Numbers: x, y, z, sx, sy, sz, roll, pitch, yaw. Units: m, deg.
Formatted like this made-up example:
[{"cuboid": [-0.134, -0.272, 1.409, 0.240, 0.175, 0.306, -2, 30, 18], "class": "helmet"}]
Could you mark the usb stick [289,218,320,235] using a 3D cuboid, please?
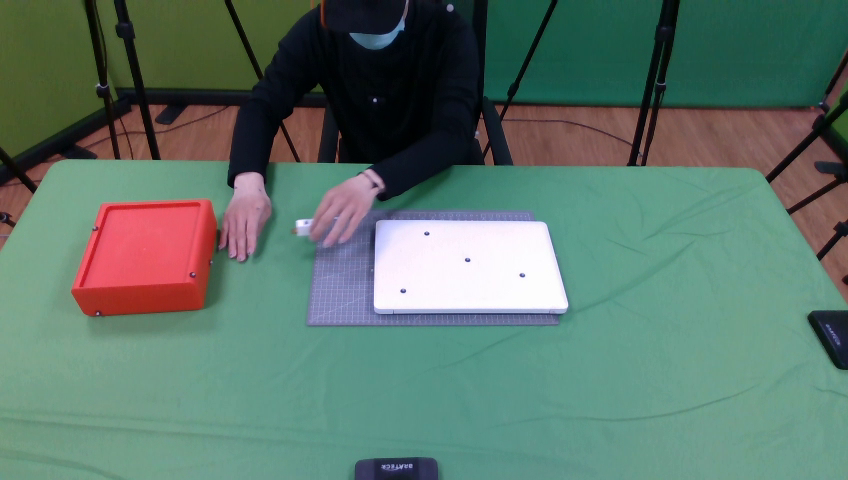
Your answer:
[{"cuboid": [-0.226, -0.025, 1.148, 0.059, 0.027, 0.021, -7, 45, -9], "class": "usb stick"}]

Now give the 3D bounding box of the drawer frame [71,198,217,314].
[{"cuboid": [-0.493, 0.023, 1.096, 0.202, 0.083, 0.212, -3, 47, -8], "class": "drawer frame"}]

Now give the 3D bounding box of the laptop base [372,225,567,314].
[{"cuboid": [0.080, 0.049, 1.159, 0.355, 0.023, 0.234, 0, 43, -4], "class": "laptop base"}]

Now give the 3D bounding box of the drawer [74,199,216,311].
[{"cuboid": [-0.494, 0.023, 1.097, 0.195, 0.073, 0.210, -2, 47, -8], "class": "drawer"}]

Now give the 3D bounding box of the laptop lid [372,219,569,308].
[{"cuboid": [0.081, 0.039, 1.152, 0.357, 0.013, 0.240, 2, 44, -3], "class": "laptop lid"}]
